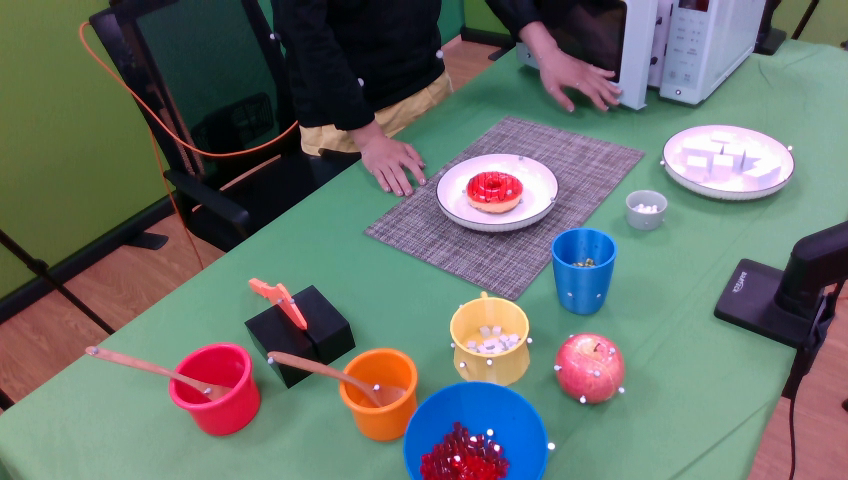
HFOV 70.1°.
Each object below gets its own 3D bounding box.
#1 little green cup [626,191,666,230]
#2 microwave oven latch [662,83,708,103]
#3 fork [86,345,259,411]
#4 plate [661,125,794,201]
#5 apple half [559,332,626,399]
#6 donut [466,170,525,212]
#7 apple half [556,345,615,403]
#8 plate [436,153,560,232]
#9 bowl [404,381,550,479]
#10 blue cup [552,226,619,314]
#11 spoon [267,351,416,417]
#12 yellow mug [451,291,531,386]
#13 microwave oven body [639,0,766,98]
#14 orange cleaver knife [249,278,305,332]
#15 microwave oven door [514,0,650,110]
[{"bbox_3d":[0.352,-0.046,0.963,0.061,0.039,0.061,-4,40,4],"label":"little green cup"},{"bbox_3d":[0.519,-0.297,1.204,0.030,0.029,0.078,-37,47,-29],"label":"microwave oven latch"},{"bbox_3d":[-0.298,0.166,0.728,0.209,0.018,0.028,28,47,-23],"label":"fork"},{"bbox_3d":[0.513,-0.128,1.035,0.207,0.039,0.206,-4,40,4],"label":"plate"},{"bbox_3d":[0.209,0.147,0.730,0.080,0.075,0.053,26,48,38],"label":"apple half"},{"bbox_3d":[0.121,-0.083,1.019,0.099,0.048,0.098,-4,38,3],"label":"donut"},{"bbox_3d":[0.181,0.167,0.709,0.080,0.081,0.033,29,50,35],"label":"apple half"},{"bbox_3d":[0.125,-0.078,1.029,0.209,0.038,0.208,-4,40,4],"label":"plate"},{"bbox_3d":[0.058,0.235,0.645,0.151,0.077,0.150,-4,39,4],"label":"bowl"},{"bbox_3d":[0.218,0.047,0.825,0.092,0.101,0.092,-6,39,5],"label":"blue cup"},{"bbox_3d":[-0.091,0.163,0.699,0.021,0.195,0.041,-44,30,27],"label":"spoon"},{"bbox_3d":[0.086,0.120,0.786,0.100,0.064,0.130,-7,39,2],"label":"yellow mug"},{"bbox_3d":[0.472,-0.513,1.317,0.438,0.261,0.327,26,51,34],"label":"microwave oven body"},{"bbox_3d":[-0.210,0.089,0.855,0.012,0.077,0.210,-28,15,-25],"label":"orange cleaver knife"},{"bbox_3d":[0.316,-0.436,1.242,0.039,0.245,0.352,-29,45,-24],"label":"microwave oven door"}]
